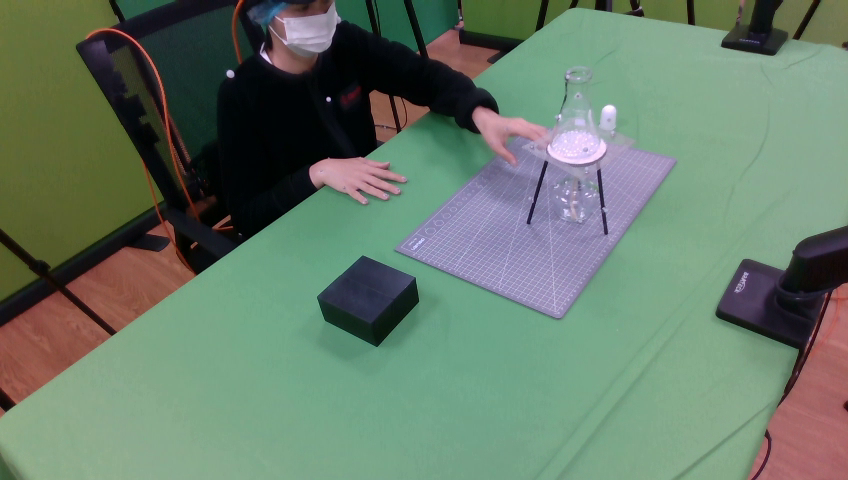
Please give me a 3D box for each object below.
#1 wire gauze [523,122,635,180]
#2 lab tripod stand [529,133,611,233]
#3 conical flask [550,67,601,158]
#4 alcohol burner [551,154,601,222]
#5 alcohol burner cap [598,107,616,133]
[{"bbox_3d":[0.233,-0.142,0.913,0.122,0.011,0.124,-31,43,-26],"label":"wire gauze"},{"bbox_3d":[0.236,-0.089,0.953,0.148,0.132,0.147,-5,42,5],"label":"lab tripod stand"},{"bbox_3d":[0.221,-0.186,0.875,0.075,0.122,0.075,-5,40,5],"label":"conical flask"},{"bbox_3d":[0.244,-0.088,0.966,0.078,0.119,0.077,-3,40,3],"label":"alcohol burner"},{"bbox_3d":[0.361,-0.239,1.189,0.034,0.048,0.033,-4,40,4],"label":"alcohol burner cap"}]
